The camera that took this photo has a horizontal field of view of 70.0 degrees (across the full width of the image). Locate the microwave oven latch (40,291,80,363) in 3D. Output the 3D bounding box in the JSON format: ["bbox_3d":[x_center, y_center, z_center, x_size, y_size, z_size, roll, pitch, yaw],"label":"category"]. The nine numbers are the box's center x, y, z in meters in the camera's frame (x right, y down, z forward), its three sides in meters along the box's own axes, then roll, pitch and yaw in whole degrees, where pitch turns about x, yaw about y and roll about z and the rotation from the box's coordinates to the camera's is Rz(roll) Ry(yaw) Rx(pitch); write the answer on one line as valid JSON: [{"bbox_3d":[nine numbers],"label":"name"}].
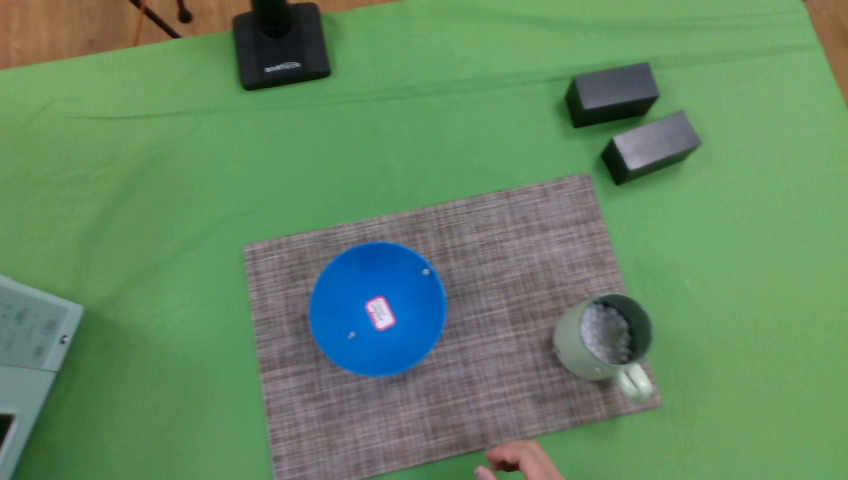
[{"bbox_3d":[-0.420,0.097,0.685,0.030,0.029,0.079,17,75,3],"label":"microwave oven latch"}]

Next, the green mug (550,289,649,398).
[{"bbox_3d":[0.202,0.117,0.673,0.092,0.105,0.124,-29,77,-9],"label":"green mug"}]

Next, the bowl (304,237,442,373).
[{"bbox_3d":[-0.055,0.079,0.692,0.151,0.077,0.150,0,74,-1],"label":"bowl"}]

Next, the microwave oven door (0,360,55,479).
[{"bbox_3d":[-0.480,0.270,0.529,0.039,0.245,0.354,15,74,4],"label":"microwave oven door"}]

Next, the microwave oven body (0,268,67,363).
[{"bbox_3d":[-0.609,0.195,0.553,0.326,0.261,0.439,15,75,3],"label":"microwave oven body"}]
